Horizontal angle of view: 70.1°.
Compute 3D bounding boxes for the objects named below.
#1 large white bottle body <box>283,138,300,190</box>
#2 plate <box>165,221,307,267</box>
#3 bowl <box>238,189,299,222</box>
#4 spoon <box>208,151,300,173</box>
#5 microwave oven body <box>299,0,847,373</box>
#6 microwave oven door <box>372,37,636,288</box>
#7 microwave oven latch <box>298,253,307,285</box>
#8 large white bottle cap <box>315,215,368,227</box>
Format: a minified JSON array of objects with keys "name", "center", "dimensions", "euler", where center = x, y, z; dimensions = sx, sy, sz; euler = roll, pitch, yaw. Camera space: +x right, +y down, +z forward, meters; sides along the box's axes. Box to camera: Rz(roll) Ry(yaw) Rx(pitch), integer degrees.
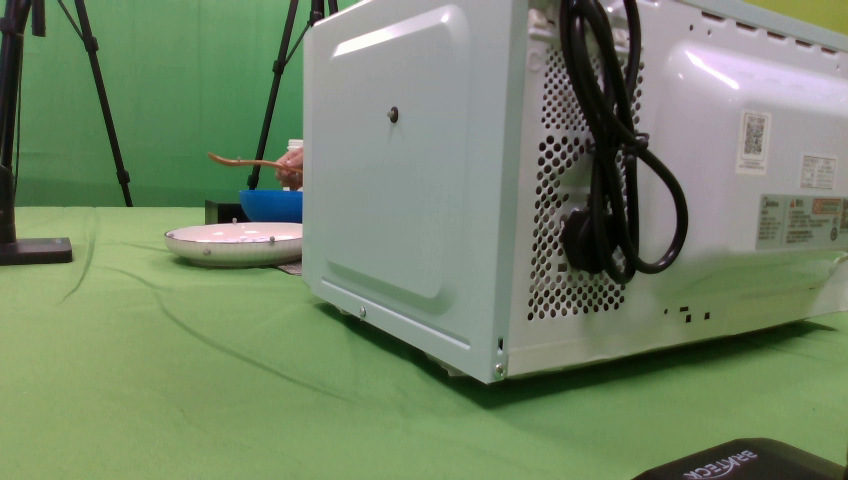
[{"name":"large white bottle body","center":[-0.265,-0.144,1.423],"dimensions":[0.131,0.184,0.130],"euler":[2,7,0]},{"name":"plate","center":[-0.241,0.004,0.829],"dimensions":[0.209,0.038,0.209],"euler":[0,9,0]},{"name":"bowl","center":[-0.245,-0.045,1.052],"dimensions":[0.151,0.077,0.151],"euler":[3,7,0]},{"name":"spoon","center":[-0.311,-0.145,1.152],"dimensions":[0.195,0.021,0.041],"euler":[5,11,-23]},{"name":"microwave oven body","center":[0.151,-0.055,0.542],"dimensions":[0.444,0.260,0.324],"euler":[-2,7,-33]},{"name":"microwave oven door","center":[0.109,-0.080,0.686],"dimensions":[0.358,0.243,0.039],"euler":[-2,9,-33]},{"name":"microwave oven latch","center":[-0.081,0.027,0.582],"dimensions":[0.079,0.029,0.030],"euler":[-1,7,-32]},{"name":"large white bottle cap","center":[-0.178,-0.041,1.309],"dimensions":[0.115,0.018,0.115],"euler":[2,6,0]}]
